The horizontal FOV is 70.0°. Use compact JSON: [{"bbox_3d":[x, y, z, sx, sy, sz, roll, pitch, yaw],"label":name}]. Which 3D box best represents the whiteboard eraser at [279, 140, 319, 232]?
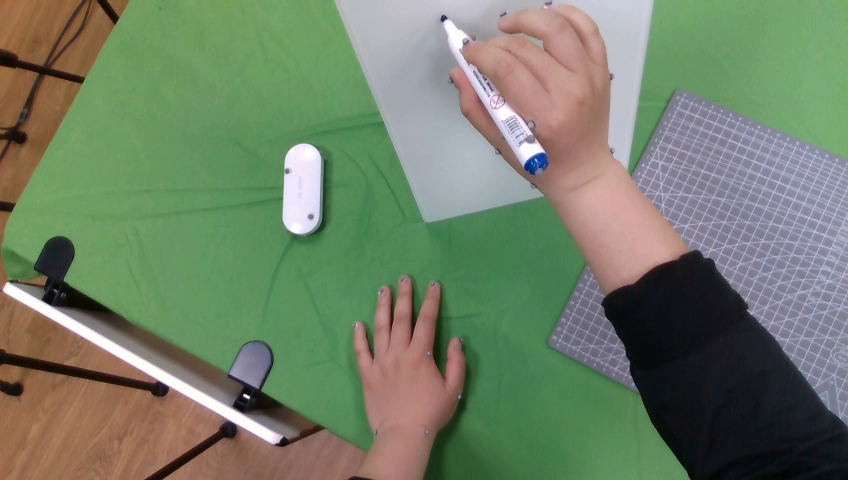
[{"bbox_3d":[-0.136,-0.059,0.661,0.041,0.019,0.101,-1,83,7],"label":"whiteboard eraser"}]

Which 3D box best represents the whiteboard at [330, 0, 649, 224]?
[{"bbox_3d":[0.063,-0.173,0.540,0.217,0.308,0.142,-13,60,6],"label":"whiteboard"}]

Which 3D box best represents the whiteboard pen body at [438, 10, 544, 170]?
[{"bbox_3d":[0.038,-0.101,0.387,0.017,0.017,0.139,-28,65,3],"label":"whiteboard pen body"}]
